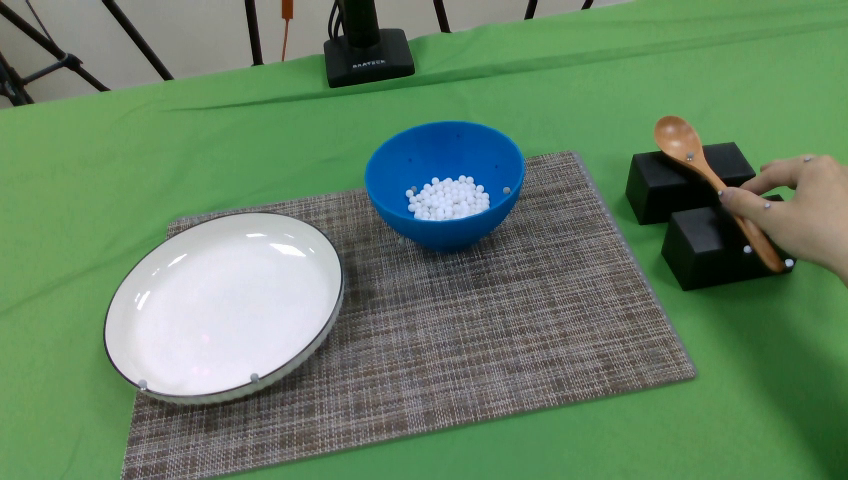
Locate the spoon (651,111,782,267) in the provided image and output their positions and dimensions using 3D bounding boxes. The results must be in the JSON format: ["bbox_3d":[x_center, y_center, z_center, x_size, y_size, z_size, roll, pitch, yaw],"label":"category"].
[{"bbox_3d":[0.257,-0.052,0.540,0.041,0.022,0.191,-12,48,-5],"label":"spoon"}]

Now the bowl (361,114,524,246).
[{"bbox_3d":[0.020,-0.047,0.587,0.151,0.077,0.150,-3,46,4],"label":"bowl"}]

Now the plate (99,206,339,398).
[{"bbox_3d":[-0.177,0.053,0.545,0.207,0.039,0.205,-3,47,4],"label":"plate"}]
